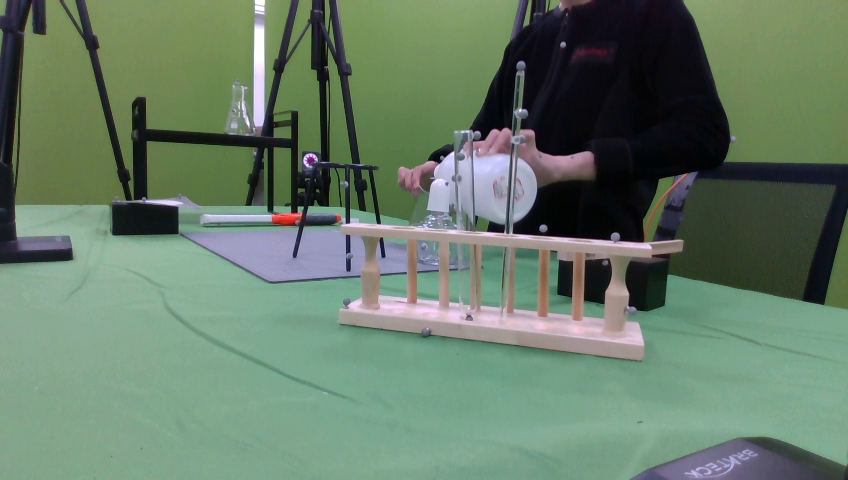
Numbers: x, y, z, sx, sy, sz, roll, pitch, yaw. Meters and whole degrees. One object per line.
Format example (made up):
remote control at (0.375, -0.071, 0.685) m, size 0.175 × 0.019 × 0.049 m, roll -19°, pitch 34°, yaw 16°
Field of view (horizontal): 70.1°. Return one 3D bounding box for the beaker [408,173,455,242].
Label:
beaker at (0.016, -0.052, 1.040) m, size 0.074 × 0.100 × 0.083 m, roll 5°, pitch 33°, yaw -16°

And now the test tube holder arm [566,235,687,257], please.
test tube holder arm at (0.215, 0.006, 0.630) m, size 0.179 × 0.015 × 0.013 m, roll -3°, pitch 9°, yaw -31°

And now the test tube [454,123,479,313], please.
test tube at (0.034, -0.016, 0.477) m, size 0.017 × 0.150 × 0.017 m, roll -2°, pitch 9°, yaw 1°

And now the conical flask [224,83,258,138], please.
conical flask at (-0.422, -0.299, 1.395) m, size 0.075 × 0.122 × 0.075 m, roll 2°, pitch 7°, yaw 0°

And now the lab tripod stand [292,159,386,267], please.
lab tripod stand at (-0.105, -0.039, 0.798) m, size 0.148 × 0.131 × 0.148 m, roll 2°, pitch 5°, yaw 0°

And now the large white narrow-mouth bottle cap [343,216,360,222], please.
large white narrow-mouth bottle cap at (-0.148, -0.036, 1.234) m, size 0.038 × 0.024 × 0.037 m, roll 2°, pitch 8°, yaw 0°

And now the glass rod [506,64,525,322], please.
glass rod at (0.069, -0.030, 0.458) m, size 0.008 × 0.199 × 0.008 m, roll 0°, pitch 15°, yaw 0°

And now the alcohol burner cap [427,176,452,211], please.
alcohol burner cap at (0.023, -0.064, 0.822) m, size 0.034 × 0.048 × 0.034 m, roll 7°, pitch 5°, yaw 0°

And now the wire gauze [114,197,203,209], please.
wire gauze at (-0.447, -0.062, 1.015) m, size 0.126 × 0.011 × 0.121 m, roll -2°, pitch 8°, yaw -31°

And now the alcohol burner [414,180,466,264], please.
alcohol burner at (0.021, -0.028, 0.826) m, size 0.078 × 0.119 × 0.078 m, roll 0°, pitch 6°, yaw 0°

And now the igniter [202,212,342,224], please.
igniter at (-0.298, -0.044, 1.216) m, size 0.278 × 0.025 × 0.057 m, roll -2°, pitch -2°, yaw -33°

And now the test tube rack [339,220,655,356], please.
test tube rack at (0.056, 0.032, 0.495) m, size 0.242 × 0.085 × 0.067 m, roll 4°, pitch 7°, yaw 15°

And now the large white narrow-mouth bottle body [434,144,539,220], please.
large white narrow-mouth bottle body at (0.079, -0.095, 0.926) m, size 0.102 × 0.101 × 0.193 m, roll -3°, pitch 15°, yaw -32°

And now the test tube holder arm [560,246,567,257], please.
test tube holder arm at (0.173, 0.007, 0.611) m, size 0.088 × 0.015 × 0.010 m, roll -3°, pitch 9°, yaw -30°
